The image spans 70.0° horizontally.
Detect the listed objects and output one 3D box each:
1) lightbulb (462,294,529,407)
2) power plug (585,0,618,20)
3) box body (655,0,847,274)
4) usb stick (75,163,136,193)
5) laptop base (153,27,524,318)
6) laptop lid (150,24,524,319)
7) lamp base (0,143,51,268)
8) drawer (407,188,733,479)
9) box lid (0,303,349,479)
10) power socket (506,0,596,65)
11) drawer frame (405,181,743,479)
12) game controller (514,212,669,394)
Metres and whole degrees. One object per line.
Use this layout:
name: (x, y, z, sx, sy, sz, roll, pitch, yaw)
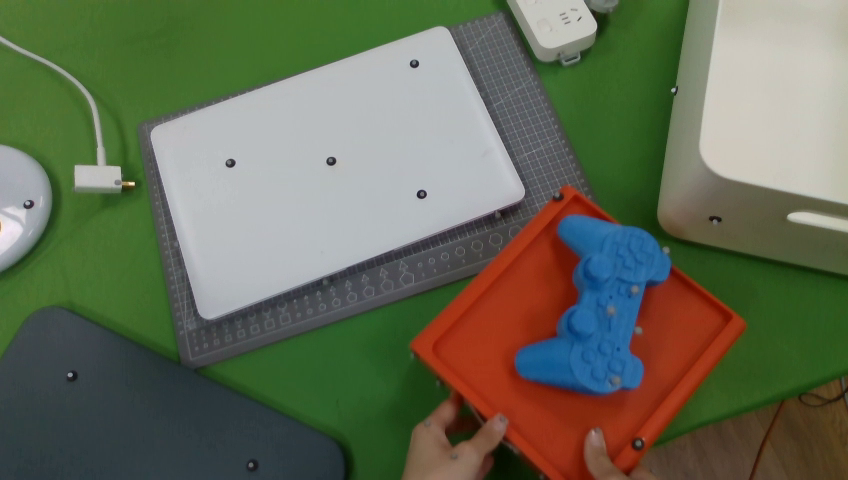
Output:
lightbulb: (0.069, 0.098, 0.553, 0.059, 0.060, 0.107, 8, 59, 7)
power plug: (0.215, -0.285, 0.698, 0.035, 0.053, 0.072, 40, 60, 20)
box body: (0.382, -0.163, 0.578, 0.253, 0.161, 0.362, 13, 72, 8)
usb stick: (-0.343, -0.066, 0.653, 0.059, 0.021, 0.027, 3, 71, -31)
laptop base: (-0.097, -0.082, 0.655, 0.354, 0.023, 0.234, -21, 74, -4)
laptop lid: (-0.098, -0.084, 0.643, 0.357, 0.013, 0.240, -20, 73, -3)
lamp base: (-0.500, -0.068, 0.589, 0.178, 0.181, 0.160, 40, 77, 19)
drawer: (0.126, 0.091, 0.544, 0.193, 0.074, 0.211, 41, 78, 17)
box lid: (-0.282, 0.235, 0.558, 0.370, 0.015, 0.262, 22, 74, 10)
power socket: (0.128, -0.305, 0.713, 0.072, 0.033, 0.225, -20, 70, -5)
drawer frame: (0.127, 0.091, 0.544, 0.200, 0.083, 0.213, 42, 77, 16)
game controller: (0.142, 0.052, 0.503, 0.097, 0.052, 0.154, 20, 74, 5)
